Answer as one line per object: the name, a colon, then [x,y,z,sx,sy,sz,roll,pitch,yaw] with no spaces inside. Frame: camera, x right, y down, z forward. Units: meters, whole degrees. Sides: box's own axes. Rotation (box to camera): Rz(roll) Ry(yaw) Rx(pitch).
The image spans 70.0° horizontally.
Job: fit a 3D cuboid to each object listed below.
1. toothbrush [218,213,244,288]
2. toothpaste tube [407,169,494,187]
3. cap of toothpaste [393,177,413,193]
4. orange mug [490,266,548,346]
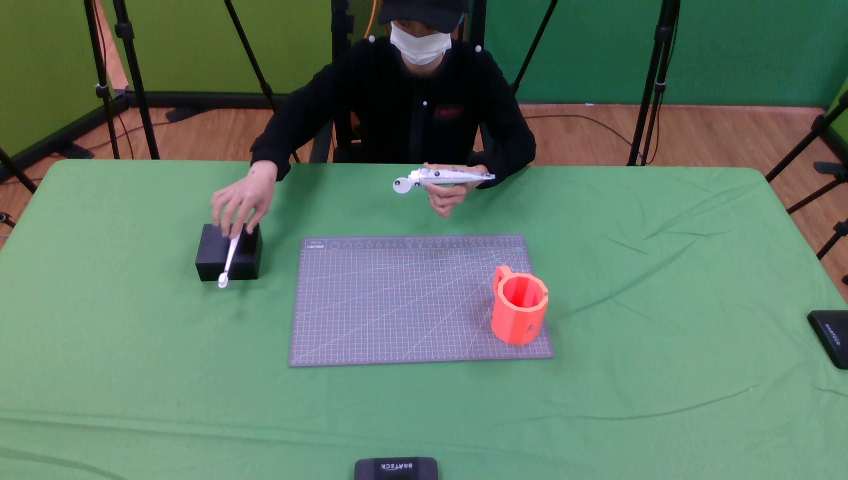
toothbrush: [-0.347,0.013,1.093,0.014,0.017,0.180,-1,46,0]
toothpaste tube: [0.050,-0.119,1.144,0.165,0.034,0.055,-1,18,6]
cap of toothpaste: [-0.040,-0.105,1.138,0.037,0.037,0.011,-4,40,-8]
orange mug: [0.155,0.107,1.051,0.083,0.101,0.125,-15,53,-18]
